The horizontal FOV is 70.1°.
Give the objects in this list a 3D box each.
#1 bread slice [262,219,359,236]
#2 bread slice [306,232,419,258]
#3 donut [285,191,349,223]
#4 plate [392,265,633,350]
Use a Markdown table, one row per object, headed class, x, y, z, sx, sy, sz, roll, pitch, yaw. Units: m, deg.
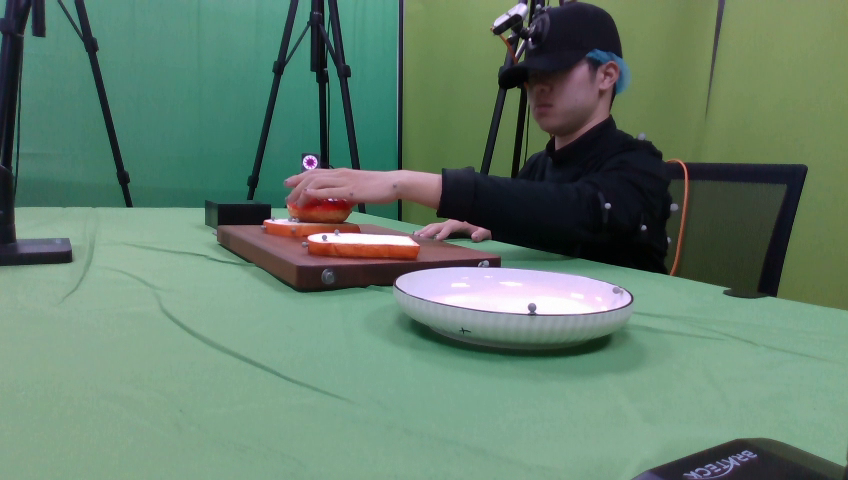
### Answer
| class | x | y | z | sx | sy | sz | roll | pitch | yaw |
| --- | --- | --- | --- | --- | --- | --- | --- | --- | --- |
| bread slice | -0.179 | -0.021 | 0.931 | 0.132 | 0.019 | 0.104 | -1 | 6 | -35 |
| bread slice | -0.077 | 0.005 | 0.747 | 0.135 | 0.018 | 0.106 | 2 | 7 | -12 |
| donut | -0.165 | -0.051 | 0.936 | 0.099 | 0.048 | 0.099 | 4 | 9 | 0 |
| plate | 0.075 | 0.057 | 0.533 | 0.209 | 0.038 | 0.209 | 3 | 7 | 0 |
